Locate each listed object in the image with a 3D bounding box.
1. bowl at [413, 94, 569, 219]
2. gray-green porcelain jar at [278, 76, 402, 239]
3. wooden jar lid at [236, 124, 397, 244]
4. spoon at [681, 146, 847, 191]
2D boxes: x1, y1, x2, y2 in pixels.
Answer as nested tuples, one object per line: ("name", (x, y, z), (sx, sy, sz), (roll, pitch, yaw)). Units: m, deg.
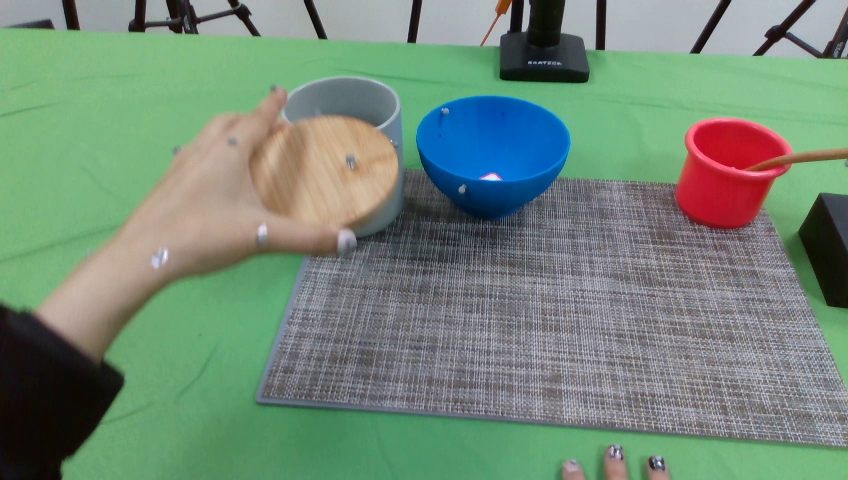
("bowl", (0.064, -0.075, 0.612), (0.151, 0.077, 0.150), (0, 44, 0))
("gray-green porcelain jar", (-0.075, -0.073, 0.575), (0.106, 0.127, 0.105), (0, 44, 0))
("wooden jar lid", (-0.071, -0.037, 0.411), (0.108, 0.021, 0.107), (-2, 49, 3))
("spoon", (0.320, -0.068, 0.558), (0.041, 0.193, 0.022), (-28, 96, -24))
